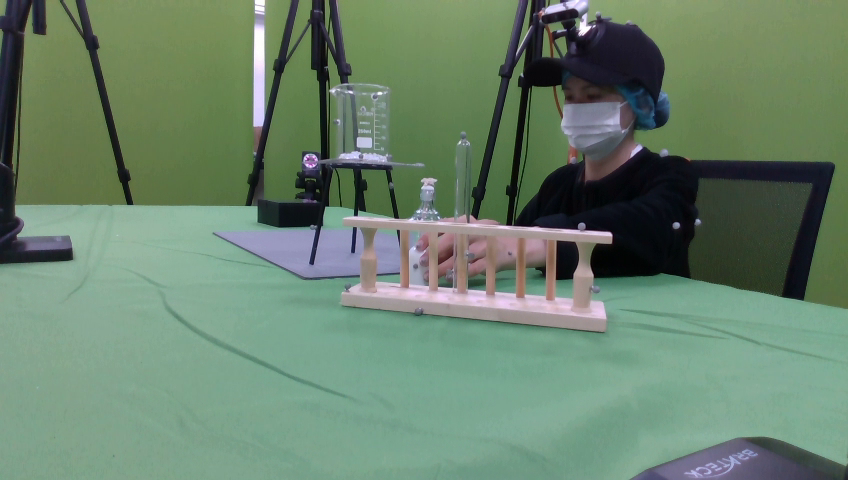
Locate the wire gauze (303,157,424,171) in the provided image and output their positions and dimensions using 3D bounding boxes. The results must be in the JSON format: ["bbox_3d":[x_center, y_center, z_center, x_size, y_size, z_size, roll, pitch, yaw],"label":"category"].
[{"bbox_3d":[-0.082,-0.102,0.799,0.126,0.011,0.121,1,7,-30],"label":"wire gauze"}]

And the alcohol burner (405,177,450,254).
[{"bbox_3d":[0.004,-0.036,0.917,0.078,0.119,0.078,3,6,0],"label":"alcohol burner"}]

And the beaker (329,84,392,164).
[{"bbox_3d":[-0.084,-0.149,0.794,0.084,0.100,0.073,-1,6,-23],"label":"beaker"}]

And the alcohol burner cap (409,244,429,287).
[{"bbox_3d":[-0.006,0.028,0.674,0.034,0.048,0.034,2,7,0],"label":"alcohol burner cap"}]

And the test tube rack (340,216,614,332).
[{"bbox_3d":[0.048,0.026,0.568,0.242,0.085,0.067,4,7,13],"label":"test tube rack"}]

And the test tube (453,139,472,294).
[{"bbox_3d":[0.037,-0.021,0.584,0.017,0.150,0.017,1,7,0],"label":"test tube"}]

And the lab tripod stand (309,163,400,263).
[{"bbox_3d":[-0.091,-0.037,0.813,0.148,0.131,0.148,1,6,0],"label":"lab tripod stand"}]
